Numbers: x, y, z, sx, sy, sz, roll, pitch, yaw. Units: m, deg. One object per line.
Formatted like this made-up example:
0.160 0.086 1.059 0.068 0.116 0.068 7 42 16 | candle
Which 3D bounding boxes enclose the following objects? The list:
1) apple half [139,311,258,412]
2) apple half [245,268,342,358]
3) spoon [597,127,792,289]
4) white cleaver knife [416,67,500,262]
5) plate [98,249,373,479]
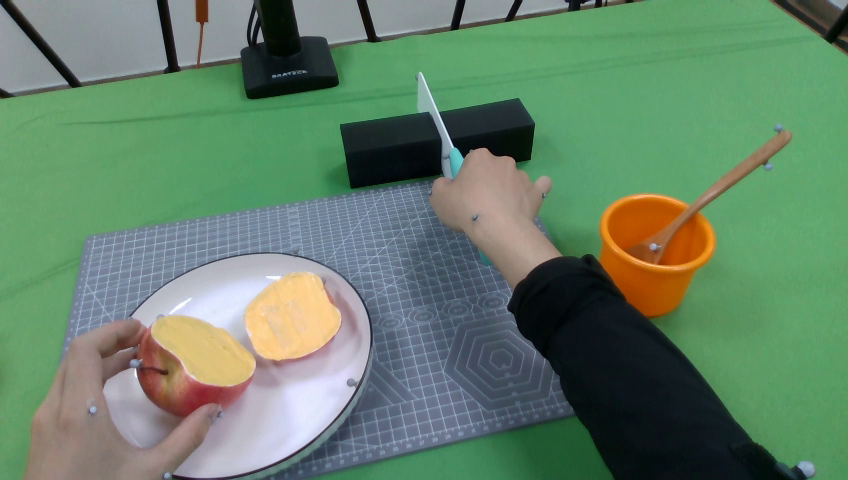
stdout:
-0.171 0.096 0.450 0.080 0.075 0.053 35 100 12 | apple half
-0.107 0.066 0.503 0.081 0.033 0.080 -2 60 5 | apple half
0.226 -0.025 0.513 0.022 0.194 0.041 25 29 -39 | spoon
0.028 -0.084 0.627 0.021 0.066 0.283 -12 48 -5 | white cleaver knife
-0.144 0.095 0.484 0.209 0.038 0.207 0 47 1 | plate
